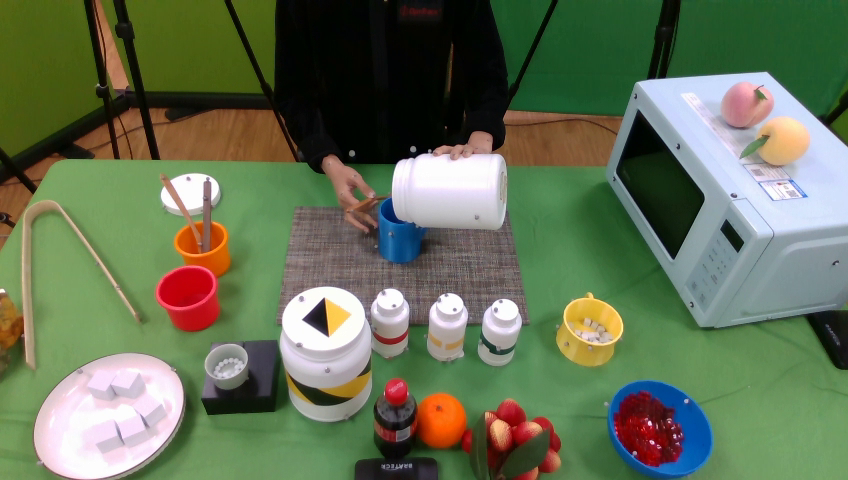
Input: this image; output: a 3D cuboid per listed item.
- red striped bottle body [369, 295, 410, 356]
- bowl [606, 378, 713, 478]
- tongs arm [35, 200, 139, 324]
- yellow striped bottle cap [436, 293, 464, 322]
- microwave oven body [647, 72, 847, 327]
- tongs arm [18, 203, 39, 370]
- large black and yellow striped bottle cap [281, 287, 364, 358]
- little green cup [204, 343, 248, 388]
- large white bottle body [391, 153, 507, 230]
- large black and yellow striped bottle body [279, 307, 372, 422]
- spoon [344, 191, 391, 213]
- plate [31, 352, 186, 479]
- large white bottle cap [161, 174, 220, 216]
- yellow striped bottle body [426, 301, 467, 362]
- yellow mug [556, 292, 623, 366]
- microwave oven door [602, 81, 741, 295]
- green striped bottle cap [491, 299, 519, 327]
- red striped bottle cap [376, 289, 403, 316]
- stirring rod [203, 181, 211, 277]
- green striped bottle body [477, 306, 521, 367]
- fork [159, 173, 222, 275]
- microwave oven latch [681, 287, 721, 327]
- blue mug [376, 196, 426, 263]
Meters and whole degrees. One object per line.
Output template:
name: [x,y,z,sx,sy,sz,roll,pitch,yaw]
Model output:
red striped bottle body: [-0.058,0.135,0.997,0.063,0.120,0.062,6,49,-6]
bowl: [0.340,0.292,0.906,0.151,0.077,0.150,2,46,-2]
tongs arm: [-0.622,0.034,1.105,0.051,0.026,0.382,-32,55,-25]
yellow striped bottle cap: [0.041,0.106,0.959,0.044,0.019,0.044,0,47,0]
microwave oven body: [0.607,-0.089,1.164,0.326,0.261,0.438,-7,46,-10]
tongs arm: [-0.698,0.069,1.069,0.028,0.028,0.385,-20,50,-13]
large black and yellow striped bottle cap: [-0.141,0.112,0.847,0.115,0.019,0.114,5,45,-4]
little green cup: [-0.294,0.190,0.909,0.061,0.039,0.061,1,48,0]
large white bottle body: [0.045,-0.085,1.054,0.184,0.131,0.130,2,45,15]
large black and yellow striped bottle body: [-0.145,0.173,0.907,0.131,0.185,0.130,2,46,-2]
spoon: [-0.091,-0.078,1.158,0.041,0.022,0.194,15,19,29]
plate: [-0.459,0.262,0.898,0.209,0.038,0.208,2,45,-2]
large white bottle cap: [-0.483,-0.095,1.253,0.115,0.018,0.114,2,46,-2]
yellow striped bottle body: [0.037,0.142,0.996,0.063,0.121,0.062,2,46,-2]
yellow mug: [0.285,0.145,1.051,0.100,0.064,0.130,7,45,3]
microwave oven door: [0.456,-0.107,1.162,0.039,0.245,0.353,-7,47,-11]
green striped bottle cap: [0.128,0.115,0.958,0.044,0.020,0.044,1,46,-1]
red striped bottle cap: [-0.054,0.098,0.958,0.044,0.018,0.044,0,48,1]
stirring rod: [-0.396,-0.021,1.107,0.014,0.006,0.176,-1,89,-1]
green striped bottle body: [0.124,0.151,0.995,0.063,0.120,0.063,2,46,-2]
fork: [-0.427,-0.029,1.103,0.028,0.018,0.207,-31,99,-29]
microwave oven latch: [0.494,0.119,1.087,0.030,0.029,0.078,-6,46,-9]
blue mug: [-0.036,-0.027,1.158,0.116,0.106,0.082,-25,54,-26]
